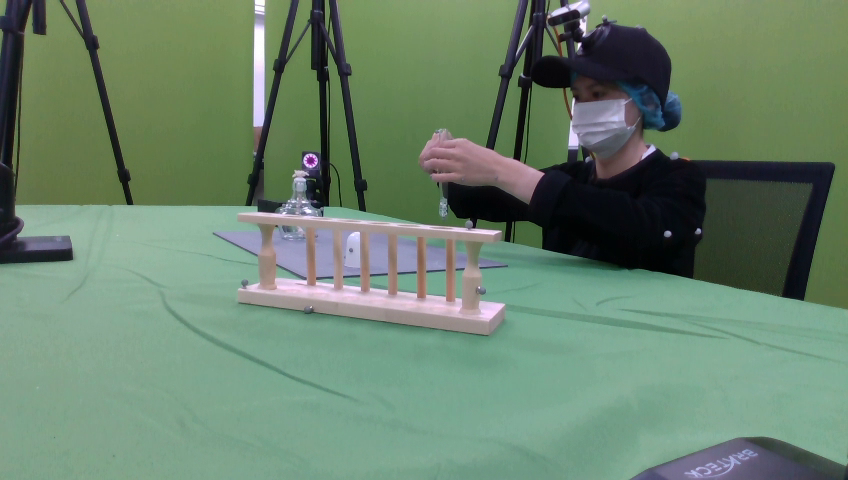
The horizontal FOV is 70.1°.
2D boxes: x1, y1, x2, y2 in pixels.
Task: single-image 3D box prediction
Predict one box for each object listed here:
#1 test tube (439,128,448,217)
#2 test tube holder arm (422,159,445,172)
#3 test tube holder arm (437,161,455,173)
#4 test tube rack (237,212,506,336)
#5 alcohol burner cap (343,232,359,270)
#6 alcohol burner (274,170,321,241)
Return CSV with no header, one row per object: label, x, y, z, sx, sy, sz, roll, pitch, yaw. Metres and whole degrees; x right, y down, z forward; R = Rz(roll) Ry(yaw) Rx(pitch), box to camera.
test tube,0.034,-0.114,1.024,0.017,0.150,0.017,0,7,0
test tube holder arm,0.015,-0.136,1.084,0.013,0.015,0.178,11,8,-13
test tube holder arm,0.031,-0.126,1.043,0.010,0.015,0.087,9,9,-23
test tube rack,-0.049,0.024,0.552,0.242,0.085,0.067,5,8,18
alcohol burner cap,-0.087,0.013,0.776,0.034,0.048,0.034,3,7,0
alcohol burner,-0.212,-0.058,1.015,0.078,0.119,0.078,4,5,0
